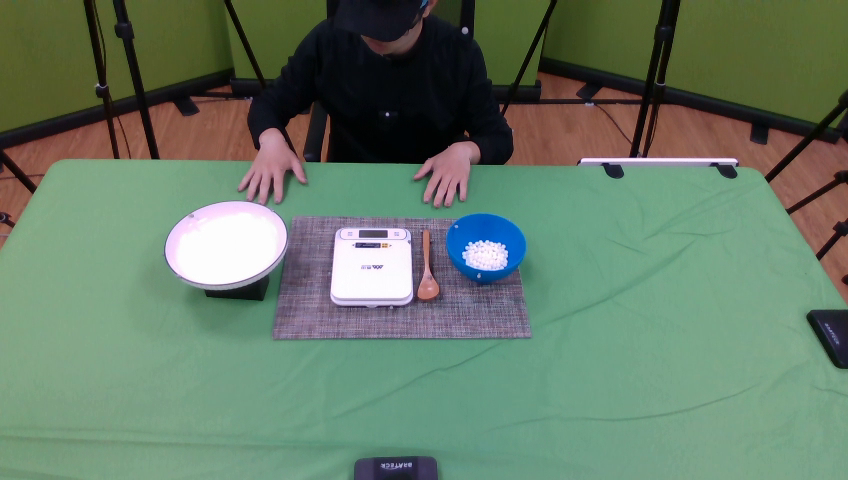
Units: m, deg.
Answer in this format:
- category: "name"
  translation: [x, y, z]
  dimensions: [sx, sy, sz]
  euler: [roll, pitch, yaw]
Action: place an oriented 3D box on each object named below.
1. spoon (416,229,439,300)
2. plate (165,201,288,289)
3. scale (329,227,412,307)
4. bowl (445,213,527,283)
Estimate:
- category: "spoon"
  translation: [0.005, 0.043, 1.152]
  dimensions: [0.041, 0.022, 0.192]
  euler: [-9, 46, 8]
- category: "plate"
  translation: [-0.347, 0.011, 1.082]
  dimensions: [0.209, 0.038, 0.208]
  euler: [2, 46, -2]
- category: "scale"
  translation: [-0.099, 0.042, 1.139]
  dimensions: [0.149, 0.032, 0.199]
  euler: [1, 46, -4]
- category: "bowl"
  translation: [0.112, 0.027, 1.136]
  dimensions: [0.151, 0.077, 0.150]
  euler: [2, 46, -2]
